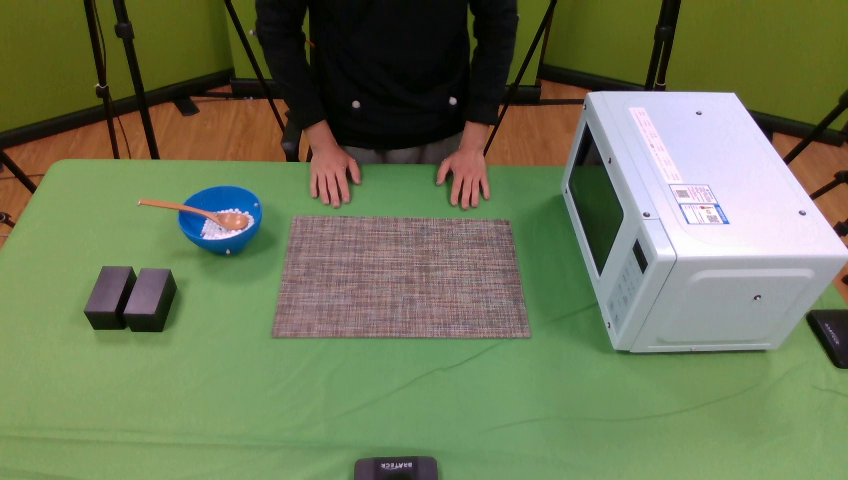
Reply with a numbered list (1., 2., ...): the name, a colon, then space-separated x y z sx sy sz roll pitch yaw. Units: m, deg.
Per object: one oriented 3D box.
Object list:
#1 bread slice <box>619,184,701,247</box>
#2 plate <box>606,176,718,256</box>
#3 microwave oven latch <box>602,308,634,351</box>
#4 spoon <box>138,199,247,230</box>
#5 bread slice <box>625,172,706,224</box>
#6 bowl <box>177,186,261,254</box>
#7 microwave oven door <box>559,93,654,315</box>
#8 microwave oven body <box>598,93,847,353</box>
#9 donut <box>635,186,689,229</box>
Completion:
1. bread slice: 0.463 -0.044 1.172 0.134 0.018 0.107 33 61 22
2. plate: 0.457 -0.043 1.179 0.208 0.039 0.206 0 47 1
3. microwave oven latch: 0.332 0.153 1.044 0.030 0.029 0.078 -1 45 -4
4. spoon: -0.431 -0.053 1.136 0.194 0.022 0.041 15 48 -20
5. bread slice: 0.462 -0.079 1.139 0.105 0.019 0.131 -31 53 -34
6. bowl: -0.383 -0.026 1.158 0.151 0.077 0.150 2 46 -2
7. microwave oven door: 0.327 -0.074 1.123 0.039 0.245 0.353 -1 46 -5
8. microwave oven body: 0.475 -0.041 1.109 0.326 0.261 0.438 -1 45 -4
9. donut: 0.454 -0.062 1.159 0.099 0.048 0.098 -2 47 2
